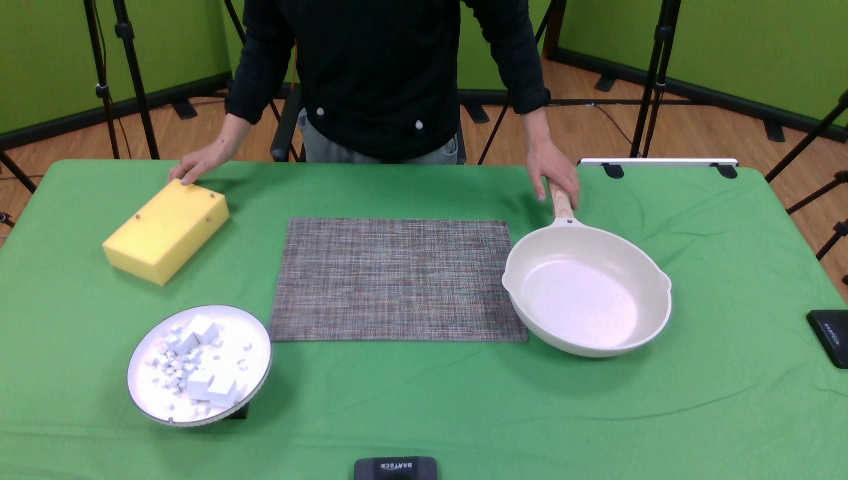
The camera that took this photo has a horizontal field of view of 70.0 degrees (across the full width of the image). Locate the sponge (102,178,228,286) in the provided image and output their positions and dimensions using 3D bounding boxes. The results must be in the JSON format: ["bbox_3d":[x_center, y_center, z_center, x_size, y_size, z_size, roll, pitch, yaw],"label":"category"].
[{"bbox_3d":[-0.485,-0.020,1.153,0.118,0.061,0.206,18,47,12],"label":"sponge"}]

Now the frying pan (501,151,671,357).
[{"bbox_3d":[0.281,0.008,1.154,0.307,0.103,0.484,1,54,-6],"label":"frying pan"}]

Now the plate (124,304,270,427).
[{"bbox_3d":[-0.337,0.189,0.913,0.208,0.039,0.206,1,46,-1],"label":"plate"}]
